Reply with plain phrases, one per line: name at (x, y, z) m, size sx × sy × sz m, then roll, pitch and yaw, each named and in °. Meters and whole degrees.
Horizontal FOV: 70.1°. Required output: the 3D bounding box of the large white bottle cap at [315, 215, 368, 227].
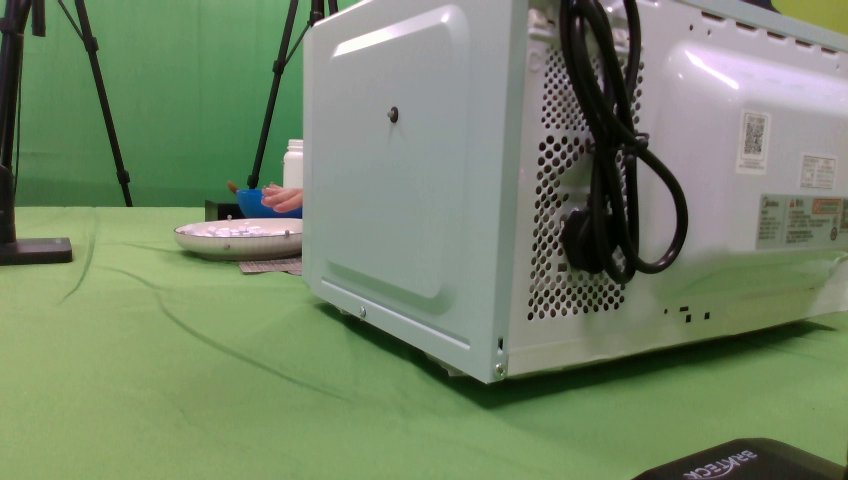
large white bottle cap at (-0.177, -0.041, 1.309) m, size 0.115 × 0.018 × 0.115 m, roll 2°, pitch 6°, yaw 0°

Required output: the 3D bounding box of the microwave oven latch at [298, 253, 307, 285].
microwave oven latch at (-0.081, 0.027, 0.582) m, size 0.079 × 0.029 × 0.030 m, roll -1°, pitch 7°, yaw -32°

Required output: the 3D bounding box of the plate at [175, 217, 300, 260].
plate at (-0.249, -0.003, 0.877) m, size 0.209 × 0.038 × 0.209 m, roll -1°, pitch 9°, yaw 0°

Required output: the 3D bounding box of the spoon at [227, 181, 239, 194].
spoon at (-0.315, -0.074, 1.235) m, size 0.195 × 0.021 × 0.041 m, roll 24°, pitch -10°, yaw -37°

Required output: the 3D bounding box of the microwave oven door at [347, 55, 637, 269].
microwave oven door at (0.088, -0.087, 0.739) m, size 0.357 × 0.243 × 0.039 m, roll 1°, pitch 8°, yaw -14°

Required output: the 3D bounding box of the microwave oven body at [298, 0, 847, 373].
microwave oven body at (0.151, -0.055, 0.543) m, size 0.444 × 0.260 × 0.324 m, roll -2°, pitch 7°, yaw -33°

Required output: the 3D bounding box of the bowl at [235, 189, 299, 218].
bowl at (-0.253, -0.047, 1.064) m, size 0.151 × 0.077 × 0.151 m, roll 3°, pitch 8°, yaw 0°

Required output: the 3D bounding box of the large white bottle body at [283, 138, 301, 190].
large white bottle body at (-0.265, -0.144, 1.423) m, size 0.131 × 0.184 × 0.130 m, roll 2°, pitch 7°, yaw 0°
